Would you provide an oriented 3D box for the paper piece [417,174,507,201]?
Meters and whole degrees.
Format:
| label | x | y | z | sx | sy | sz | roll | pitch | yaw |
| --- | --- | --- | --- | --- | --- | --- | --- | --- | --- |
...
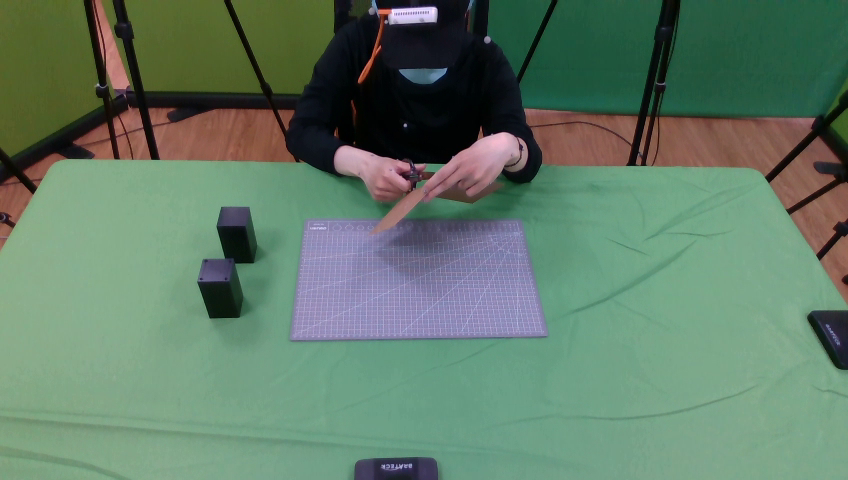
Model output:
| label | x | y | z | sx | sy | sz | roll | pitch | yaw |
| --- | --- | --- | --- | --- | --- | --- | --- | --- | --- |
| paper piece | 0.072 | -0.102 | 1.190 | 0.138 | 0.136 | 0.008 | -1 | 75 | -24 |

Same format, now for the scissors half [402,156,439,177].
| label | x | y | z | sx | sy | sz | roll | pitch | yaw |
| --- | --- | --- | --- | --- | --- | --- | --- | --- | --- |
| scissors half | -0.008 | -0.139 | 1.172 | 0.013 | 0.040 | 0.174 | -16 | 18 | -20 |

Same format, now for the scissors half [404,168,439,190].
| label | x | y | z | sx | sy | sz | roll | pitch | yaw |
| --- | --- | --- | --- | --- | --- | --- | --- | --- | --- |
| scissors half | -0.005 | -0.120 | 1.175 | 0.013 | 0.175 | 0.040 | -11 | 90 | -21 |

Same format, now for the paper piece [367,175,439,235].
| label | x | y | z | sx | sy | sz | roll | pitch | yaw |
| --- | --- | --- | --- | --- | --- | --- | --- | --- | --- |
| paper piece | -0.042 | -0.065 | 1.134 | 0.004 | 0.135 | 0.135 | 48 | 66 | -11 |
